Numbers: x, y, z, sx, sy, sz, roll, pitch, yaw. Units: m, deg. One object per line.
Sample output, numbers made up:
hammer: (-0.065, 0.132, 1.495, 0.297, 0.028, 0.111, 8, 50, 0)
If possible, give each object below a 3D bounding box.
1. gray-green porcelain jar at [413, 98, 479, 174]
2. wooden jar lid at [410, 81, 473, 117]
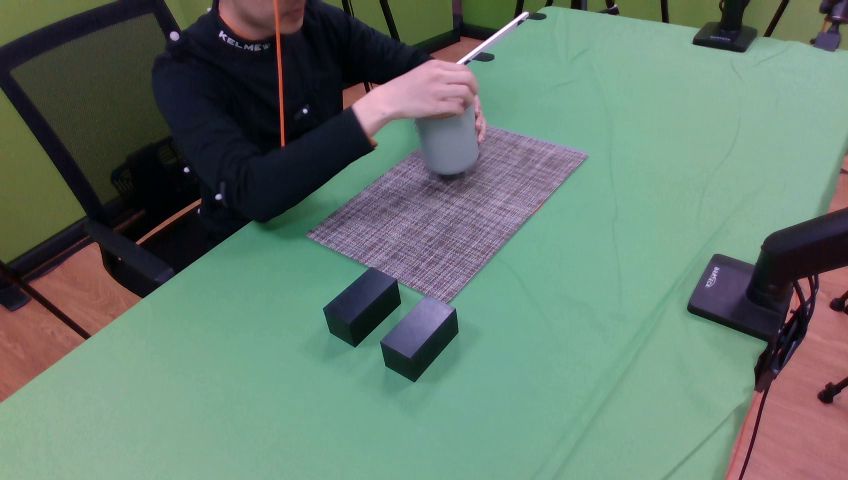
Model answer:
gray-green porcelain jar: (0.041, -0.189, 1.064, 0.106, 0.127, 0.105, -6, 42, 6)
wooden jar lid: (0.031, -0.235, 1.023, 0.108, 0.021, 0.108, -10, 41, 9)
